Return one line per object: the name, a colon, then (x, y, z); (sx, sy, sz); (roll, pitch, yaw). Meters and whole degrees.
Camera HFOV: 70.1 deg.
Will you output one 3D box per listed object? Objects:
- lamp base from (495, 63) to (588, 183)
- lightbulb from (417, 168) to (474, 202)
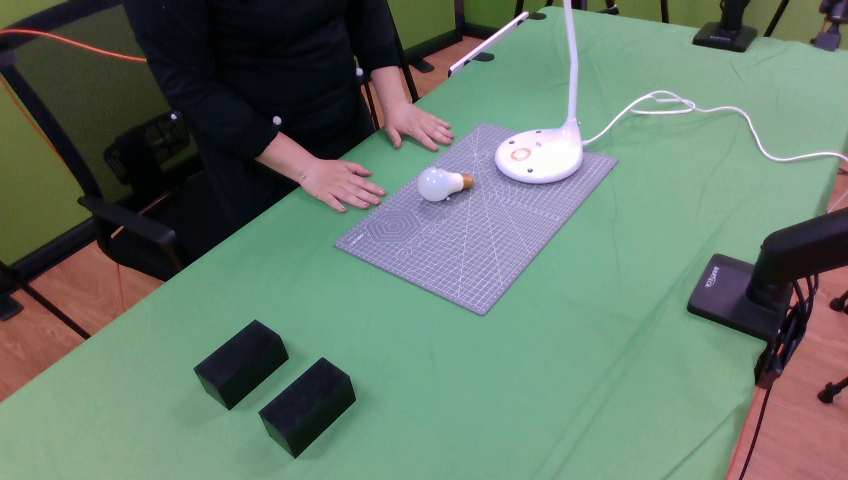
lamp base: (0.215, -0.217, 1.067); (0.180, 0.181, 0.159); (-19, 42, -18)
lightbulb: (0.040, -0.097, 1.055); (0.108, 0.059, 0.059); (-7, 37, -25)
